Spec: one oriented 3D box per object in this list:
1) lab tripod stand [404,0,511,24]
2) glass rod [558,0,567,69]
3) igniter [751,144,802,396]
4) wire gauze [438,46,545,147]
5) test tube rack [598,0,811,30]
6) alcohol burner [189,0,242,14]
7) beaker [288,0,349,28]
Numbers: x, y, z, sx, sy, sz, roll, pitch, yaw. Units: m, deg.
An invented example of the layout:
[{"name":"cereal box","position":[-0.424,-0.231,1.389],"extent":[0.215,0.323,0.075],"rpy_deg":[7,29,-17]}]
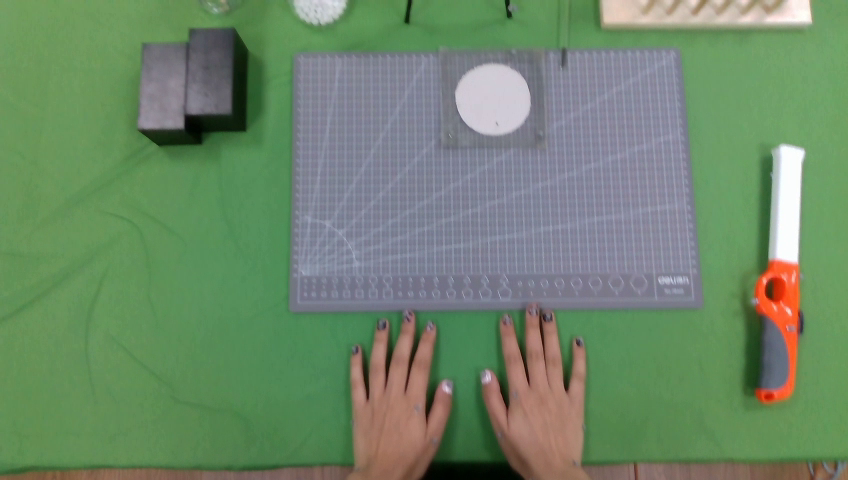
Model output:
[{"name":"lab tripod stand","position":[0.035,-0.311,0.660],"extent":[0.148,0.132,0.147],"rpy_deg":[0,79,2]},{"name":"glass rod","position":[0.167,-0.297,0.720],"extent":[0.008,0.008,0.199],"rpy_deg":[4,82,1]},{"name":"igniter","position":[0.383,0.031,0.656],"extent":[0.057,0.025,0.275],"rpy_deg":[11,81,-8]},{"name":"wire gauze","position":[0.077,-0.166,0.697],"extent":[0.125,0.011,0.121],"rpy_deg":[1,79,1]},{"name":"test tube rack","position":[0.328,-0.289,0.680],"extent":[0.242,0.085,0.066],"rpy_deg":[0,80,0]},{"name":"alcohol burner","position":[-0.243,-0.305,0.670],"extent":[0.078,0.119,0.077],"rpy_deg":[0,78,0]},{"name":"beaker","position":[-0.122,-0.292,0.675],"extent":[0.084,0.100,0.074],"rpy_deg":[-39,82,-7]}]
